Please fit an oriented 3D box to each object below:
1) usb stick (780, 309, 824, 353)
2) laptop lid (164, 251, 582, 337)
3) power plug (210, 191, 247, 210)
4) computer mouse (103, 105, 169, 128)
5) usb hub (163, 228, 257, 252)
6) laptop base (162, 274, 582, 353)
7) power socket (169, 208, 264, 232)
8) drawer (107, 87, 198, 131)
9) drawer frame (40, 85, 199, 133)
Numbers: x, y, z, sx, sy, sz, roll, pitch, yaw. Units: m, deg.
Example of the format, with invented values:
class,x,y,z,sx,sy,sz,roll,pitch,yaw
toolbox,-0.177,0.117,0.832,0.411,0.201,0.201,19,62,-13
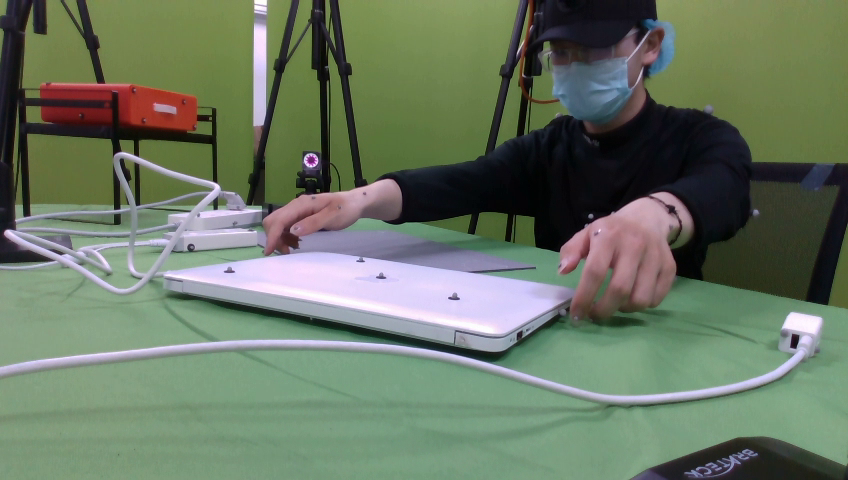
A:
class,x,y,z,sx,sy,sz,roll,pitch,yaw
usb stick,0.311,0.072,0.496,0.027,0.021,0.059,8,16,34
laptop lid,-0.045,0.040,0.599,0.355,0.013,0.243,7,7,30
power plug,-0.386,-0.071,1.204,0.072,0.052,0.035,8,11,25
computer mouse,-0.581,-0.249,1.223,0.118,0.041,0.062,2,3,-39
usb hub,-0.313,-0.001,0.894,0.049,0.025,0.126,9,10,41
laptop base,-0.046,0.053,0.598,0.353,0.023,0.236,7,6,28
power socket,-0.381,-0.038,1.128,0.072,0.032,0.227,4,8,17
drawer,-0.609,-0.265,1.236,0.211,0.073,0.195,4,8,16
drawer frame,-0.612,-0.266,1.235,0.213,0.082,0.202,3,8,15
